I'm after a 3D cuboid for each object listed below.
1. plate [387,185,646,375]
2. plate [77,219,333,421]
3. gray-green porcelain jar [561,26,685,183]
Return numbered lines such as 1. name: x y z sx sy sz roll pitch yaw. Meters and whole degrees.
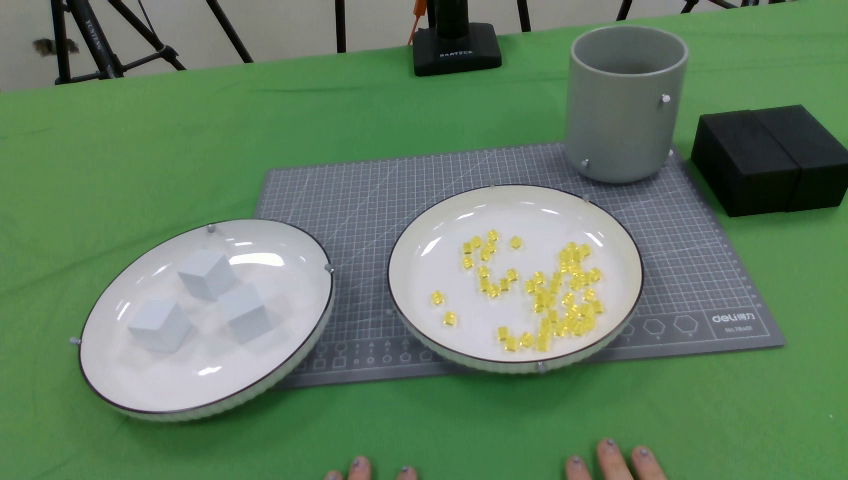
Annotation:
1. plate: 0.075 0.031 0.508 0.207 0.039 0.205 -4 42 4
2. plate: -0.176 0.063 0.509 0.209 0.038 0.207 -5 43 5
3. gray-green porcelain jar: 0.190 -0.128 0.597 0.106 0.128 0.105 -4 43 4
